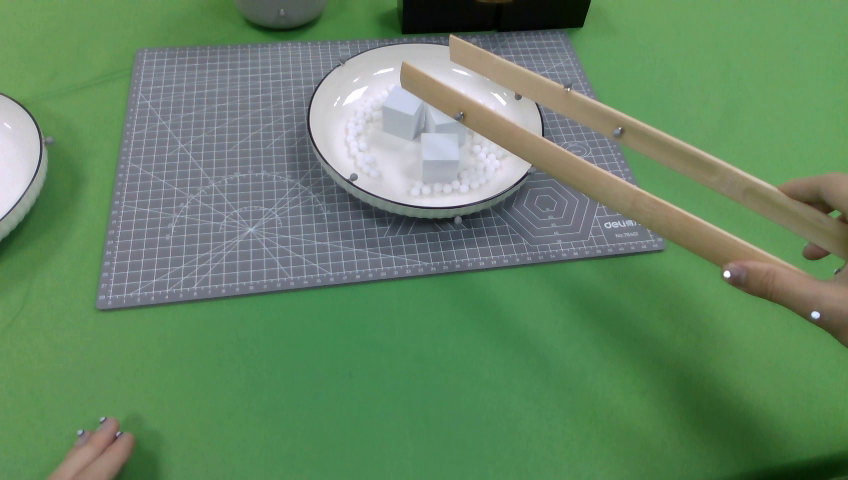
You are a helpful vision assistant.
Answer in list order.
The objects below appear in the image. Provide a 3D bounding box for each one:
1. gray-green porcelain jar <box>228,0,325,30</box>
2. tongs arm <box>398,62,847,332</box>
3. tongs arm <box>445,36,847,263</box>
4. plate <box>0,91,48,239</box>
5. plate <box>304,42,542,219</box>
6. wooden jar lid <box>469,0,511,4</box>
[{"bbox_3d":[-0.154,-0.289,0.614,0.106,0.127,0.105,2,54,-3],"label":"gray-green porcelain jar"},{"bbox_3d":[0.127,-0.040,0.412,0.384,0.028,0.028,33,51,25],"label":"tongs arm"},{"bbox_3d":[0.151,-0.059,0.429,0.382,0.027,0.050,32,54,24],"label":"tongs arm"},{"bbox_3d":[-0.403,-0.041,0.471,0.208,0.039,0.205,3,55,-3],"label":"plate"},{"bbox_3d":[-0.001,-0.099,0.544,0.209,0.038,0.207,2,55,-3],"label":"plate"},{"bbox_3d":[0.064,-0.282,0.633,0.108,0.021,0.107,3,56,-4],"label":"wooden jar lid"}]
